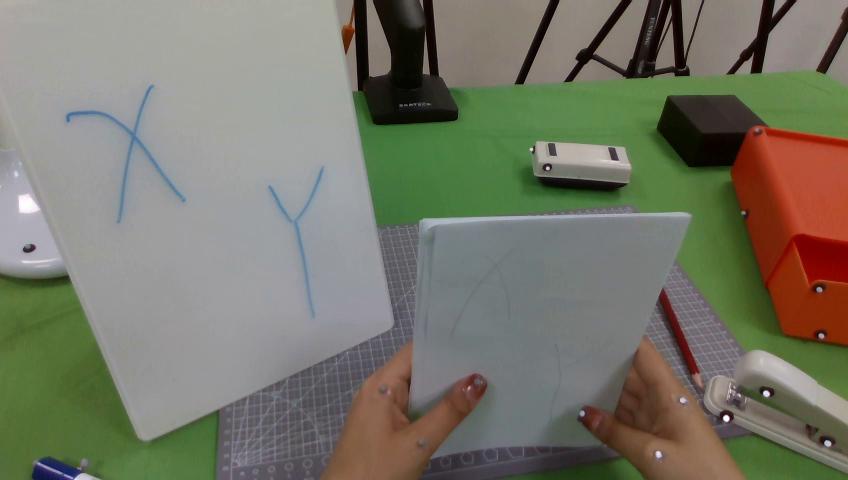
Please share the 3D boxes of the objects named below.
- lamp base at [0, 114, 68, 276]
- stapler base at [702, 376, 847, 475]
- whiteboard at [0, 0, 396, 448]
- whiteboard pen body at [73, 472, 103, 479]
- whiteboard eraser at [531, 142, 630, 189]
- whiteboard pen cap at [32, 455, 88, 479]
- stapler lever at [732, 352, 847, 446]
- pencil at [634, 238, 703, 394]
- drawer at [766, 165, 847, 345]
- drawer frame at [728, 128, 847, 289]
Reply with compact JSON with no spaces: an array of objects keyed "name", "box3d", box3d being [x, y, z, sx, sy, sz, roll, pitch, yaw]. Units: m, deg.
[{"name":"lamp base","box3d":[-0.368,-0.083,0.564,0.178,0.182,0.160,21,43,22]},{"name":"stapler base","box3d":[0.291,0.142,0.478,0.130,0.024,0.041,23,48,16]},{"name":"whiteboard","box3d":[-0.170,-0.041,0.479,0.218,0.307,0.142,-21,27,-26]},{"name":"whiteboard pen body","box3d":[-0.193,0.175,0.400,0.140,0.017,0.017,14,41,12]},{"name":"whiteboard eraser","box3d":[0.187,-0.089,0.733,0.113,0.042,0.055,5,41,1]},{"name":"whiteboard pen cap","box3d":[-0.248,0.159,0.413,0.033,0.018,0.018,14,41,14]},{"name":"stapler lever","box3d":[0.295,0.124,0.460,0.117,0.040,0.026,24,48,16]},{"name":"pencil","box3d":[0.230,0.064,0.574,0.012,0.012,0.192,1,42,-3]},{"name":"drawer","box3d":[0.444,0.015,0.602,0.194,0.074,0.210,9,40,7]},{"name":"drawer frame","box3d":[0.456,-0.025,0.649,0.201,0.083,0.212,9,39,6]}]
